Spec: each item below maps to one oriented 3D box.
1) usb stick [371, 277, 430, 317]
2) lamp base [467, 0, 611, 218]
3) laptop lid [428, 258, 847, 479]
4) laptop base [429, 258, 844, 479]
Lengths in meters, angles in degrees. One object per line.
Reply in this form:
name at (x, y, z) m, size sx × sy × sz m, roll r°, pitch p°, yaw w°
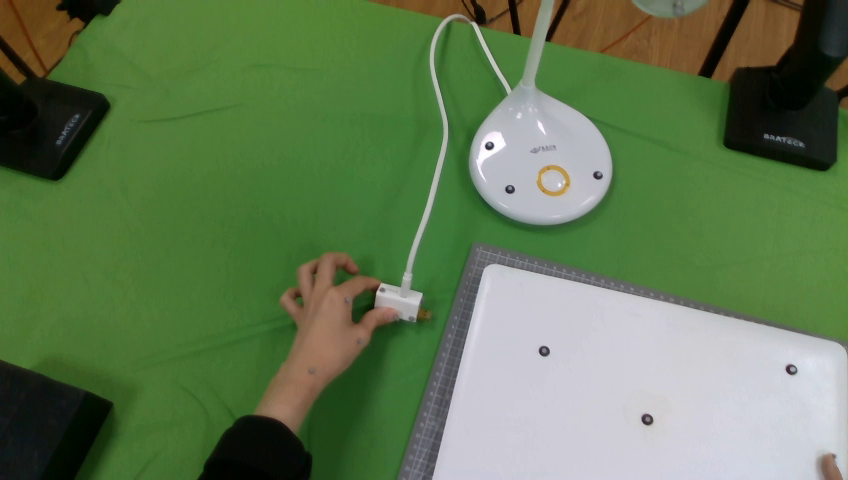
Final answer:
usb stick at (-0.021, 0.059, 0.605) m, size 0.059 × 0.027 × 0.021 m, roll 17°, pitch 30°, yaw 2°
lamp base at (0.121, -0.140, 0.615) m, size 0.161 × 0.181 × 0.177 m, roll -21°, pitch 63°, yaw -9°
laptop lid at (0.199, 0.158, 0.550) m, size 0.356 × 0.013 × 0.240 m, roll 14°, pitch 68°, yaw 7°
laptop base at (0.201, 0.161, 0.562) m, size 0.354 × 0.023 × 0.234 m, roll 13°, pitch 69°, yaw 6°
